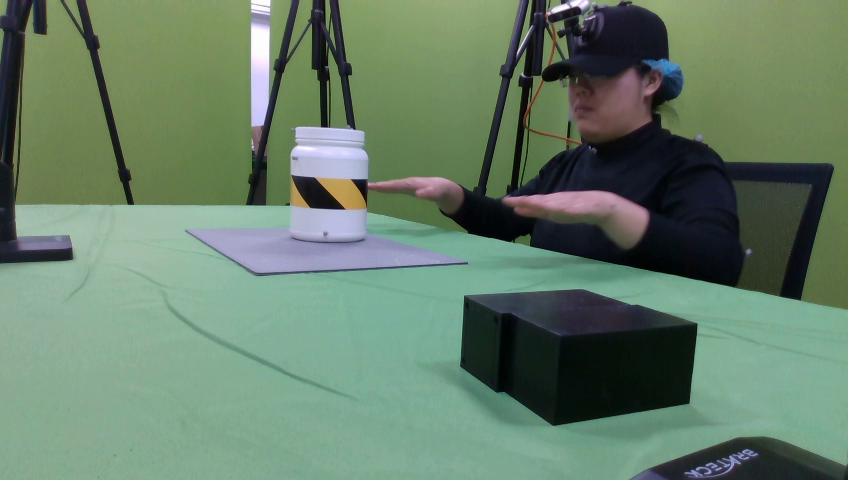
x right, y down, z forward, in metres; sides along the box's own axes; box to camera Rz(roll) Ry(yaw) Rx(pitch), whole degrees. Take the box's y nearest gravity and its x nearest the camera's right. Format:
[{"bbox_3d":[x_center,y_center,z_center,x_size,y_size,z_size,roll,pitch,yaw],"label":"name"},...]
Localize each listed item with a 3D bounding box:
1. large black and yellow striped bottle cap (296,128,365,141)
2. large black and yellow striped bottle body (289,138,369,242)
[{"bbox_3d":[-0.156,-0.177,1.014,0.115,0.019,0.115,1,7,0],"label":"large black and yellow striped bottle cap"},{"bbox_3d":[-0.161,-0.094,1.026,0.131,0.184,0.130,3,8,0],"label":"large black and yellow striped bottle body"}]
